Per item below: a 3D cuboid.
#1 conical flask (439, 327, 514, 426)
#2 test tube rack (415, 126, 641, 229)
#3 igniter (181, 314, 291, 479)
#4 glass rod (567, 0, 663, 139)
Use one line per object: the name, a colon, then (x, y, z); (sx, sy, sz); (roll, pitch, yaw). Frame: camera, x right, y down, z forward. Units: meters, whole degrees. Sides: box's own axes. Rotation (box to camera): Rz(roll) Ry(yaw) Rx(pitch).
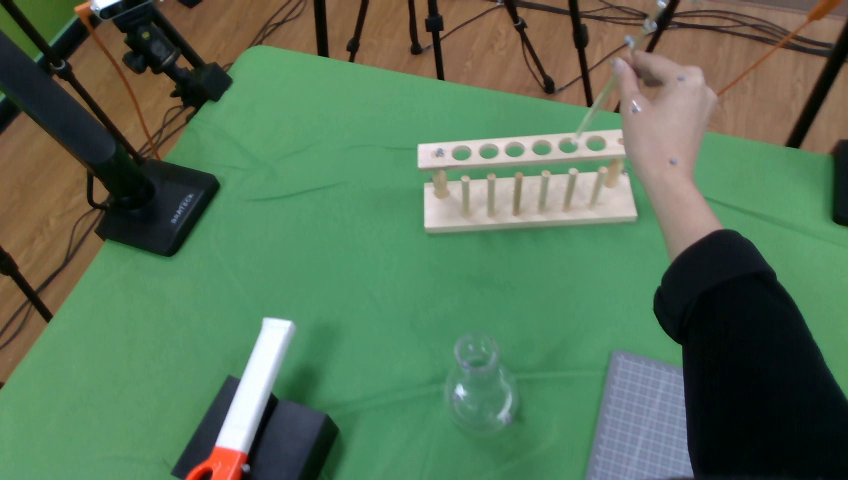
conical flask: (0.047, 0.120, 0.558); (0.075, 0.123, 0.074); (-3, 59, 5)
test tube rack: (0.114, -0.068, 0.686); (0.242, 0.086, 0.066); (-3, 59, 4)
igniter: (-0.180, 0.193, 0.540); (0.057, 0.025, 0.274); (6, 59, 15)
glass rod: (0.167, -0.146, 0.551); (0.008, 0.200, 0.008); (3, 68, -7)
